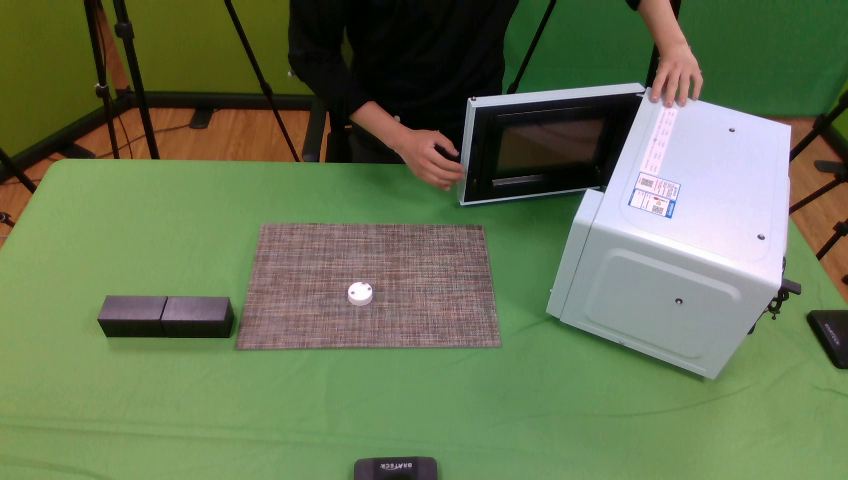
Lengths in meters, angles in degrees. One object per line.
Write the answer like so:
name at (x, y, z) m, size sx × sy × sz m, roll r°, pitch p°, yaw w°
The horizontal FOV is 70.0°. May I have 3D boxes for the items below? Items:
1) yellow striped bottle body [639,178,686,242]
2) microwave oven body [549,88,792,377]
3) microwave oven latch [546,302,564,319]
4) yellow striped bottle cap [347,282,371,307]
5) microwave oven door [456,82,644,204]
yellow striped bottle body at (0.445, -0.058, 1.126) m, size 0.063 × 0.121 × 0.062 m, roll -2°, pitch 46°, yaw 2°
microwave oven body at (0.456, -0.028, 1.088) m, size 0.325 × 0.261 × 0.440 m, roll 20°, pitch 47°, yaw 16°
microwave oven latch at (0.242, 0.102, 1.081) m, size 0.030 × 0.029 × 0.079 m, roll 21°, pitch 48°, yaw 17°
yellow striped bottle cap at (-0.117, 0.098, 1.093) m, size 0.044 × 0.019 × 0.044 m, roll 3°, pitch 46°, yaw -3°
microwave oven door at (0.249, -0.193, 1.224) m, size 0.356 × 0.245 × 0.039 m, roll -8°, pitch 47°, yaw -11°
